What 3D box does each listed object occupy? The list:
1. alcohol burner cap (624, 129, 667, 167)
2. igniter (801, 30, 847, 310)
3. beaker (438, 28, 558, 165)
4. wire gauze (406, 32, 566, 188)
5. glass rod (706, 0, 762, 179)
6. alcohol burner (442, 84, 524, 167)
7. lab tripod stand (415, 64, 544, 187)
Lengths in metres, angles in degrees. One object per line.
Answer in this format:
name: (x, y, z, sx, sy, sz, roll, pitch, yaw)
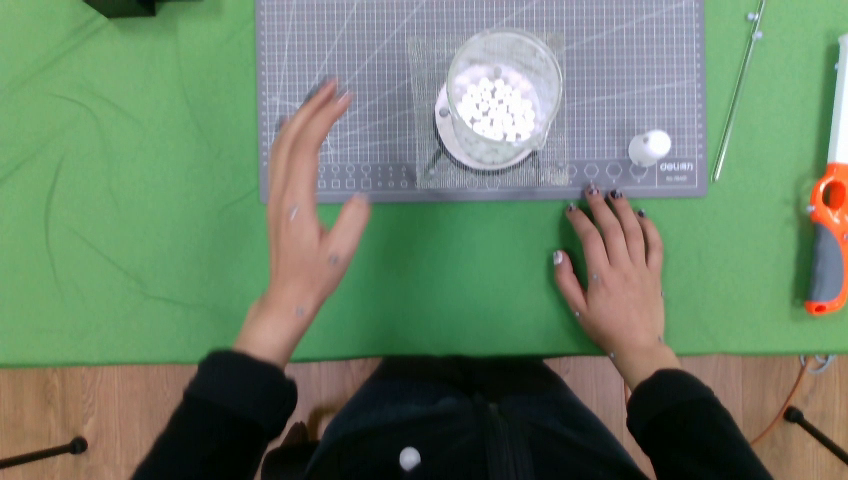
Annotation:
alcohol burner cap: (0.218, -0.091, 0.592, 0.034, 0.048, 0.034, 0, 86, 2)
igniter: (0.409, -0.067, 0.600, 0.057, 0.025, 0.276, 7, 90, -10)
beaker: (0.051, -0.093, 0.433, 0.074, 0.100, 0.084, -33, 88, 0)
wire gauze: (0.049, -0.103, 0.481, 0.125, 0.011, 0.121, -2, 88, 3)
glass rod: (0.313, -0.158, 0.611, 0.008, 0.008, 0.199, 16, 90, 0)
alcohol burner: (0.056, -0.109, 0.557, 0.078, 0.119, 0.078, 0, 87, 0)
lab tripod stand: (0.050, -0.099, 0.547, 0.148, 0.131, 0.148, 0, 89, 2)
